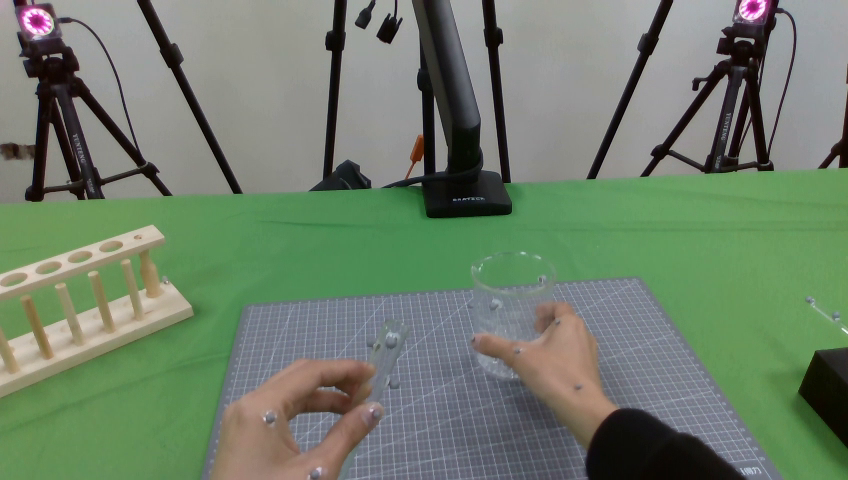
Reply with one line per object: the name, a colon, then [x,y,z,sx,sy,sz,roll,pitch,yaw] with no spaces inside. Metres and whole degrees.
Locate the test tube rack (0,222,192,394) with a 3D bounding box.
test tube rack: [-0.361,0.071,0.579,0.243,0.086,0.066,-24,40,-34]

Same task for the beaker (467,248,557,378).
beaker: [0.075,0.067,0.550,0.083,0.101,0.074,17,34,34]

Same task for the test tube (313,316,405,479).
test tube: [-0.044,0.110,0.365,0.017,0.151,0.017,20,21,-8]

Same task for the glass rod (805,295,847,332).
glass rod: [0.394,0.103,0.500,0.008,0.008,0.197,-9,32,-13]
